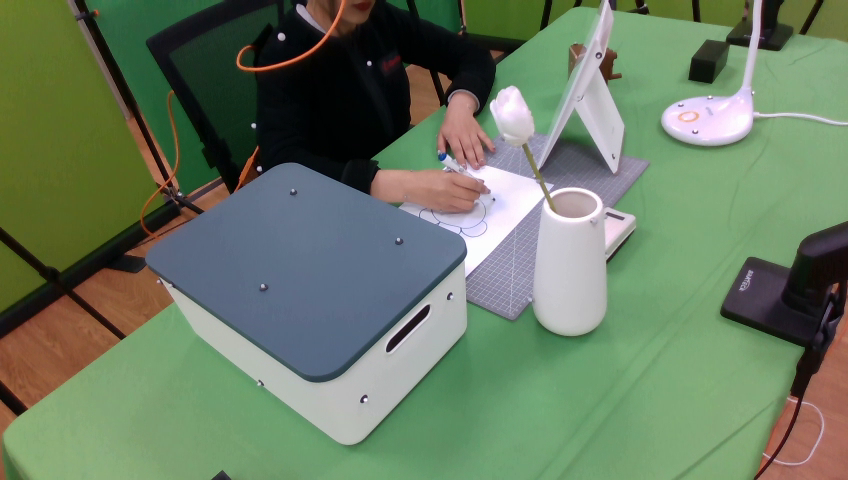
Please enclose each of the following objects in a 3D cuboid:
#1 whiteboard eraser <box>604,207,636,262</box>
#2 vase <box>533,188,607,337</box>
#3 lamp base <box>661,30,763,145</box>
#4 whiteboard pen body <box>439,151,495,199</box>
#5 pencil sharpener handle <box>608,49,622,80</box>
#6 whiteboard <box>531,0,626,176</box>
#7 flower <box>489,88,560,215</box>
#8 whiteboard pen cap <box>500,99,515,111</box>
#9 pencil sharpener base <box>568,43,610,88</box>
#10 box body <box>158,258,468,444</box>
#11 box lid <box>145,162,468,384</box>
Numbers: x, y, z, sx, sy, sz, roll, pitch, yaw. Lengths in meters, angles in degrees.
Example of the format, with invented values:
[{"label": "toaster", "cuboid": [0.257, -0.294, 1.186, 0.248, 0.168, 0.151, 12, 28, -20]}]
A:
[{"label": "whiteboard eraser", "cuboid": [0.272, -0.003, 0.919, 0.055, 0.042, 0.113, 27, 51, 32]}, {"label": "vase", "cuboid": [0.187, 0.033, 0.771, 0.098, 0.201, 0.097, -6, 41, 6]}, {"label": "lamp base", "cuboid": [0.535, -0.287, 1.096, 0.179, 0.181, 0.159, -10, 40, -4]}, {"label": "whiteboard pen body", "cuboid": [0.076, -0.106, 1.015, 0.017, 0.142, 0.017, -31, 40, 31]}, {"label": "pencil sharpener handle", "cuboid": [0.394, -0.367, 1.253, 0.030, 0.068, 0.036, -9, 32, 1]}, {"label": "whiteboard", "cuboid": [0.320, -0.259, 1.050, 0.144, 0.306, 0.217, 22, 45, 6]}, {"label": "flower", "cuboid": [0.158, -0.028, 0.720, 0.038, 0.364, 0.044, -14, 44, 23]}, {"label": "whiteboard pen cap", "cuboid": [0.177, -0.287, 1.290, 0.033, 0.018, 0.018, -37, 47, -26]}, {"label": "pencil sharpener base", "cuboid": [0.345, -0.352, 1.263, 0.077, 0.107, 0.061, -9, 40, 1]}, {"label": "box body", "cuboid": [-0.147, 0.072, 0.816, 0.361, 0.161, 0.255, 24, 50, 33]}, {"label": "box lid", "cuboid": [-0.157, 0.014, 0.769, 0.368, 0.015, 0.264, 25, 51, 33]}]
